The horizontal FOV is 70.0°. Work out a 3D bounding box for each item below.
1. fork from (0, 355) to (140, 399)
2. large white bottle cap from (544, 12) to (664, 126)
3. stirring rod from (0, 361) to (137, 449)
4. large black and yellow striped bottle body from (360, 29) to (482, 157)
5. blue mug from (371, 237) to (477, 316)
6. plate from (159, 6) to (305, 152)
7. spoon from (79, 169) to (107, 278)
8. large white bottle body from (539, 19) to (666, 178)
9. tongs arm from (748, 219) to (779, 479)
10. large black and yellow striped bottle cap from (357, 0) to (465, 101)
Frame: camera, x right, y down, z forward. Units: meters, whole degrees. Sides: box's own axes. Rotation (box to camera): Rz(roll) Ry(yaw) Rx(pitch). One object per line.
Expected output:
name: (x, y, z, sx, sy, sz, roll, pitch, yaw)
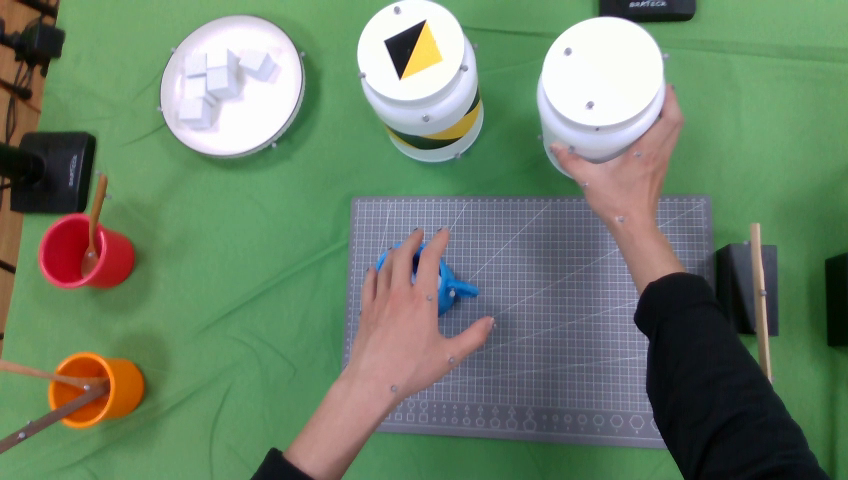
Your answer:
fork: (-0.458, 0.162, 0.744, 0.209, 0.018, 0.028, 25, 80, -32)
large white bottle cap: (0.177, -0.169, 0.599, 0.114, 0.018, 0.114, -2, 80, 11)
stirring rod: (-0.436, 0.200, 0.741, 0.014, 0.006, 0.176, 48, 47, 10)
large black and yellow striped bottle body: (-0.001, -0.186, 0.719, 0.130, 0.185, 0.130, -2, 79, 9)
blue mug: (0.006, 0.048, 0.715, 0.116, 0.106, 0.082, 8, 81, 10)
plate: (-0.262, -0.219, 0.838, 0.207, 0.039, 0.207, -1, 80, 8)
spoon: (-0.422, -0.017, 0.773, 0.041, 0.022, 0.194, 48, 133, 16)
large white bottle body: (0.195, -0.154, 0.680, 0.130, 0.185, 0.130, -2, 80, 12)
tongs arm: (0.380, 0.168, 0.641, 0.051, 0.026, 0.384, -3, 92, 5)
large black and yellow striped bottle cap: (-0.014, -0.203, 0.638, 0.115, 0.019, 0.114, -1, 81, 7)
